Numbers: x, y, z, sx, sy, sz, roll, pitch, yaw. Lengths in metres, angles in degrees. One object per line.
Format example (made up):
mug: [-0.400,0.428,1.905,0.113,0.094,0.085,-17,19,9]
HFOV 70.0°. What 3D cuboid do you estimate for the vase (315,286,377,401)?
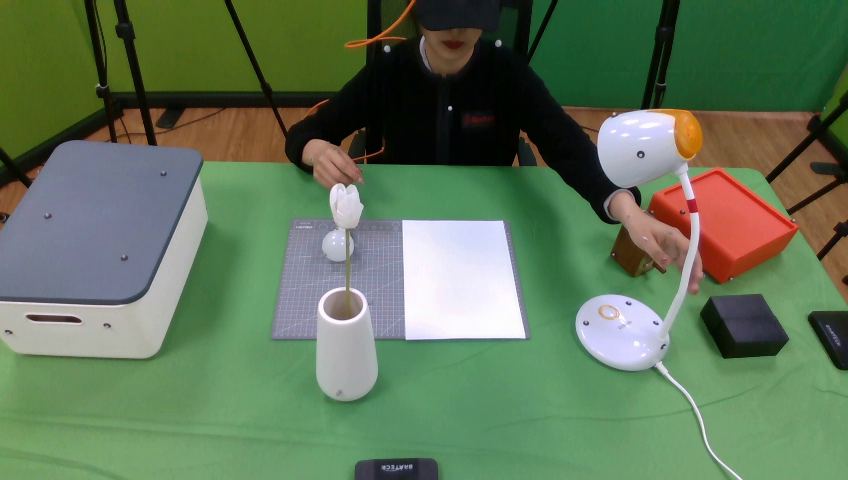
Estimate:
vase: [-0.119,0.159,0.911,0.098,0.201,0.097,2,47,-2]

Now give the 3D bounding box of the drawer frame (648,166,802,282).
drawer frame: [0.603,-0.040,1.233,0.202,0.083,0.212,-21,51,-23]

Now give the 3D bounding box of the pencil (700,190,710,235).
pencil: [0.583,-0.058,1.256,0.012,0.012,0.193,16,34,12]

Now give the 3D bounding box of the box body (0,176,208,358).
box body: [-0.546,0.017,1.045,0.254,0.161,0.361,2,46,-2]

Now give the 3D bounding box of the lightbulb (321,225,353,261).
lightbulb: [-0.163,-0.001,1.164,0.059,0.060,0.107,4,30,0]

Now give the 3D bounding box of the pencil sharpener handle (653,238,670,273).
pencil sharpener handle: [0.444,0.030,1.120,0.036,0.068,0.030,-25,52,-18]

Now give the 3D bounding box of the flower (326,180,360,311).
flower: [-0.110,0.086,0.867,0.044,0.363,0.038,23,34,36]

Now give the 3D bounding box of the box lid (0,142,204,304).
box lid: [-0.534,-0.044,0.994,0.263,0.015,0.369,3,45,-3]

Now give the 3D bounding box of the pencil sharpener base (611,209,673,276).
pencil sharpener base: [0.416,0.007,1.158,0.061,0.107,0.076,-21,51,-22]

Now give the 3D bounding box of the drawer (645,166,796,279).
drawer: [0.599,-0.040,1.236,0.195,0.073,0.210,-21,52,-23]

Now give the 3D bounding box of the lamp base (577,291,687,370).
lamp base: [0.361,0.110,1.003,0.160,0.181,0.178,-31,57,-28]

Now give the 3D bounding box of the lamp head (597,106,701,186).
lamp head: [0.328,-0.138,0.865,0.112,0.113,0.122,-36,20,-32]
